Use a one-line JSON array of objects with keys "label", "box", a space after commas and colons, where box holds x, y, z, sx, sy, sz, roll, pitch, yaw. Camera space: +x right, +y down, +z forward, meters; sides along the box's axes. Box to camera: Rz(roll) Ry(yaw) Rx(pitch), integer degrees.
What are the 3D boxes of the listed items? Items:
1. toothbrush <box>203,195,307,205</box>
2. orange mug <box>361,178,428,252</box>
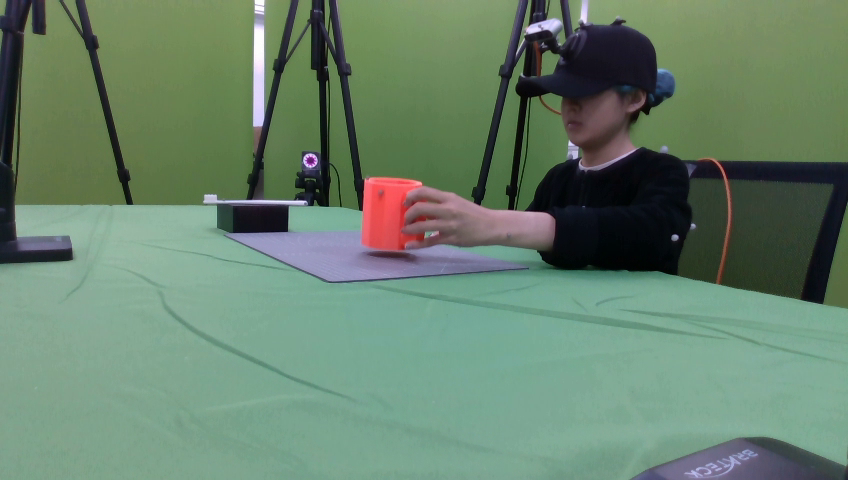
[{"label": "toothbrush", "box": [-0.306, -0.072, 1.105, 0.183, 0.016, 0.014, 0, 4, -22]}, {"label": "orange mug", "box": [-0.037, -0.036, 0.869, 0.084, 0.100, 0.125, -3, 9, -35]}]
